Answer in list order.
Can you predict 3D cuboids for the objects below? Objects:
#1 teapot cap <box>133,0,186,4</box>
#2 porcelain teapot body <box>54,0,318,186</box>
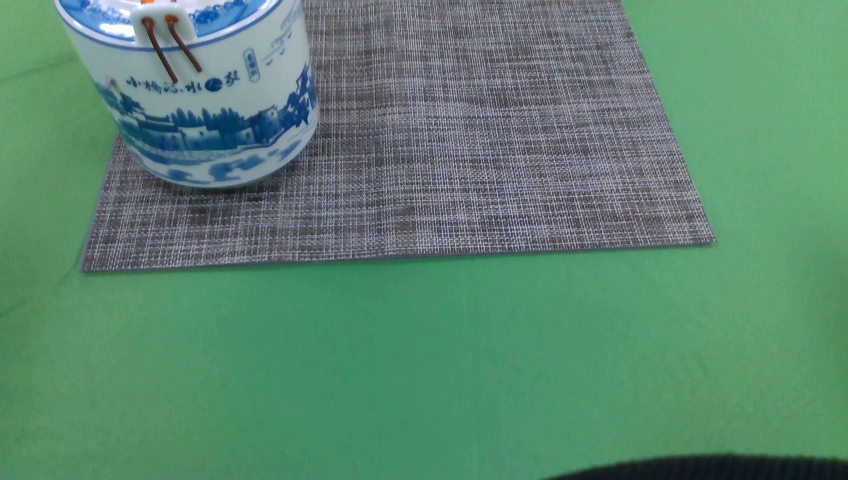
[{"bbox_3d":[-0.153,-0.172,0.360,0.085,0.044,0.084,0,57,0],"label":"teapot cap"},{"bbox_3d":[-0.157,-0.172,0.408,0.145,0.227,0.203,-8,57,-7],"label":"porcelain teapot body"}]
